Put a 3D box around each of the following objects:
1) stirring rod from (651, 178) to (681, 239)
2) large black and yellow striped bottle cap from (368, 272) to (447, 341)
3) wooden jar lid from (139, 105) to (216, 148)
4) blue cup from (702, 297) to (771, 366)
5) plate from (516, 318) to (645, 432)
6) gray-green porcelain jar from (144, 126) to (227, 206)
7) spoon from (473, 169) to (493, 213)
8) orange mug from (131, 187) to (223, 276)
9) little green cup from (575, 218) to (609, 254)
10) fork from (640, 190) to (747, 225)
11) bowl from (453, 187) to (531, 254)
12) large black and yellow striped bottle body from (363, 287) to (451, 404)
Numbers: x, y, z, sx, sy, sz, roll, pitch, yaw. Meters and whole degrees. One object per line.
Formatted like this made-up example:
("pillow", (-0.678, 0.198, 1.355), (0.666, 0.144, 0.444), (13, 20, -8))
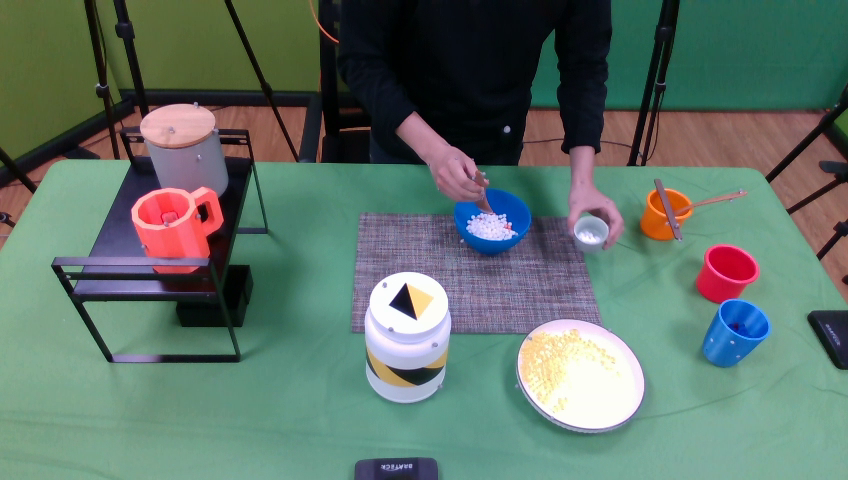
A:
("stirring rod", (0.480, -0.065, 1.204), (0.014, 0.006, 0.175), (3, 46, -3))
("large black and yellow striped bottle cap", (-0.023, 0.093, 0.875), (0.115, 0.019, 0.114), (3, 46, -3))
("wooden jar lid", (-0.372, -0.169, 0.920), (0.108, 0.021, 0.107), (4, 44, -4))
("blue cup", (0.519, 0.162, 1.025), (0.093, 0.101, 0.092), (3, 45, -3))
("plate", (0.253, 0.221, 0.993), (0.209, 0.038, 0.208), (2, 46, -2))
("gray-green porcelain jar", (-0.375, -0.126, 0.967), (0.106, 0.127, 0.105), (2, 46, -2))
("spoon", (0.100, -0.087, 1.069), (0.041, 0.194, 0.021), (34, 79, 17))
("orange mug", (-0.354, -0.022, 0.888), (0.083, 0.101, 0.126), (31, 55, 24))
("little green cup", (0.309, -0.005, 1.122), (0.061, 0.039, 0.061), (-3, 56, 5))
("fork", (0.533, -0.065, 1.211), (0.207, 0.019, 0.028), (-22, 28, 39))
("bowl", (0.128, -0.025, 1.187), (0.151, 0.077, 0.150), (2, 46, -2))
("large black and yellow striped bottle body", (-0.027, 0.153, 0.935), (0.131, 0.185, 0.130), (2, 46, -2))
